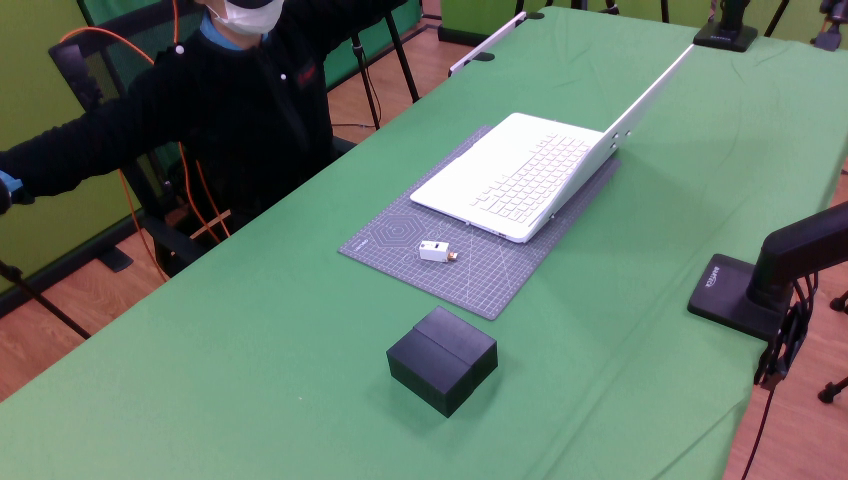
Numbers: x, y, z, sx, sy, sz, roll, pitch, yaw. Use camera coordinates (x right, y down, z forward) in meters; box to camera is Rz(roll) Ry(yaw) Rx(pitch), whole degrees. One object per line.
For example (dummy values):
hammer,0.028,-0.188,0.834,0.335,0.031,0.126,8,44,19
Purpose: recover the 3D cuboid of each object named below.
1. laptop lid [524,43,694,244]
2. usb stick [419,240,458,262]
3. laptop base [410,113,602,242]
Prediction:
laptop lid,0.290,-0.151,0.941,0.013,0.241,0.358,40,54,12
usb stick,0.023,0.018,0.936,0.059,0.027,0.021,9,42,14
laptop base,0.171,-0.127,1.096,0.233,0.023,0.355,21,47,33
